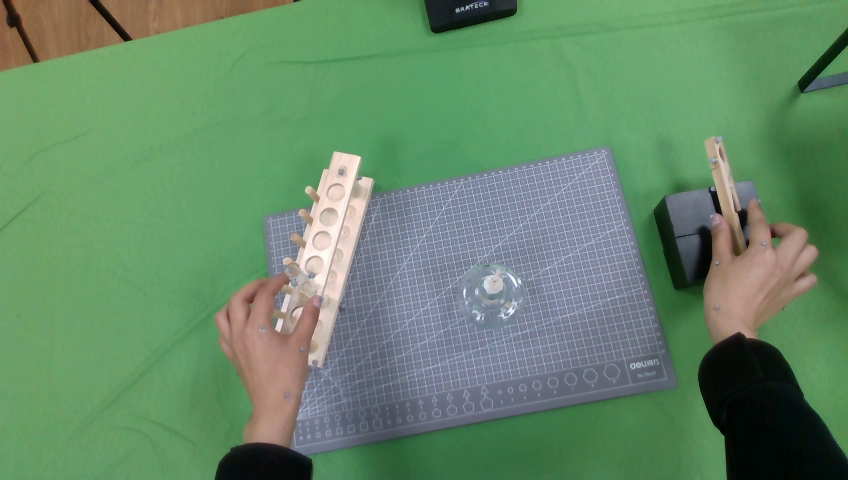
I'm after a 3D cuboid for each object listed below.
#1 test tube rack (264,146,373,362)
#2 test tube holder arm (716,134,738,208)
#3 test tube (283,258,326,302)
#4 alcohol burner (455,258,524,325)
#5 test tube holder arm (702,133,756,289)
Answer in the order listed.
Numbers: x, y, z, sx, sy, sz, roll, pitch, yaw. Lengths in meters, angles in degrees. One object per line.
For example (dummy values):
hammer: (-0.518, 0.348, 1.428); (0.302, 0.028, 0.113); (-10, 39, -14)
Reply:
test tube rack: (-0.130, 0.015, 0.714); (0.066, 0.085, 0.241); (12, 77, 9)
test tube holder arm: (0.335, -0.077, 0.680); (0.010, 0.015, 0.087); (2, 73, -27)
test tube: (-0.127, 0.046, 0.654); (0.017, 0.151, 0.017); (0, 73, 2)
alcohol burner: (0.073, 0.053, 0.671); (0.078, 0.120, 0.077); (-1, 74, 4)
test tube holder arm: (0.335, -0.033, 0.666); (0.013, 0.015, 0.177); (1, 74, -27)
